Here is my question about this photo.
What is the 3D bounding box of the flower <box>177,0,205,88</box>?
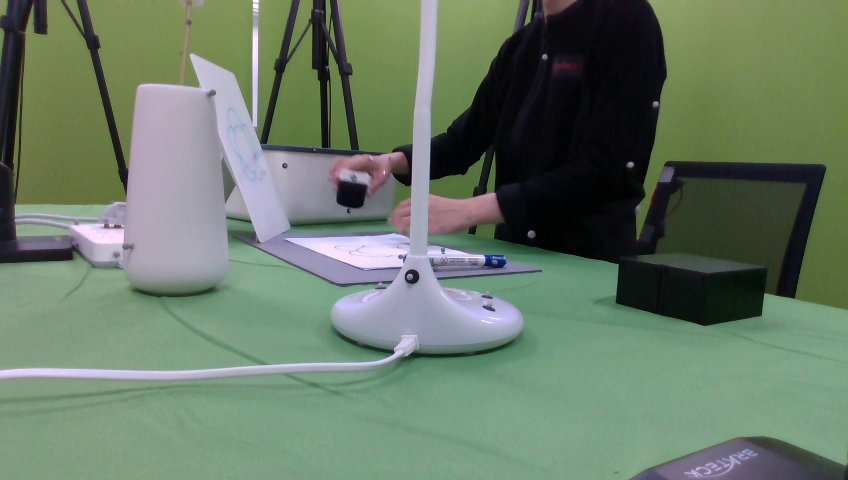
[{"bbox_3d":[-0.243,-0.131,0.609,0.044,0.361,0.038,-5,-12,11],"label":"flower"}]

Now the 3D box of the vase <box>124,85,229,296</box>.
[{"bbox_3d":[-0.244,-0.047,0.598,0.098,0.200,0.098,3,8,0],"label":"vase"}]

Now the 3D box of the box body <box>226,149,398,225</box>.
[{"bbox_3d":[-0.265,-0.129,1.380,0.253,0.160,0.366,8,9,39],"label":"box body"}]

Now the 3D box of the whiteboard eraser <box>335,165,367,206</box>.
[{"bbox_3d":[-0.135,-0.095,1.107,0.056,0.042,0.112,7,-19,-7],"label":"whiteboard eraser"}]

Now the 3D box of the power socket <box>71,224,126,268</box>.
[{"bbox_3d":[-0.409,0.004,0.793,0.072,0.032,0.225,-2,8,-37],"label":"power socket"}]

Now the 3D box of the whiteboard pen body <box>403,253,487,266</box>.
[{"bbox_3d":[0.040,0.026,0.785,0.141,0.017,0.017,1,7,-24],"label":"whiteboard pen body"}]

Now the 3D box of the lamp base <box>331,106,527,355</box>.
[{"bbox_3d":[0.006,-0.012,0.478,0.161,0.180,0.179,2,10,2],"label":"lamp base"}]

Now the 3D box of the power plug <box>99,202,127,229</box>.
[{"bbox_3d":[-0.415,-0.026,0.848,0.073,0.052,0.035,6,5,-28],"label":"power plug"}]

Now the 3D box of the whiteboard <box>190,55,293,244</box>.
[{"bbox_3d":[-0.362,-0.129,1.029,0.144,0.305,0.217,-18,7,3],"label":"whiteboard"}]

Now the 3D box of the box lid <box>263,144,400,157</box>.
[{"bbox_3d":[-0.263,-0.203,1.369,0.262,0.015,0.373,9,10,39],"label":"box lid"}]

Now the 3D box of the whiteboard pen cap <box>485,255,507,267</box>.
[{"bbox_3d":[0.093,0.028,0.810,0.033,0.018,0.018,1,7,-24],"label":"whiteboard pen cap"}]
